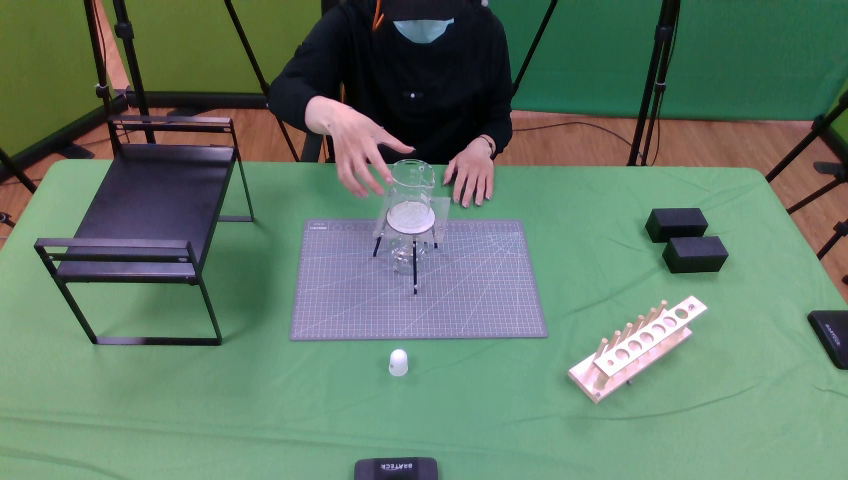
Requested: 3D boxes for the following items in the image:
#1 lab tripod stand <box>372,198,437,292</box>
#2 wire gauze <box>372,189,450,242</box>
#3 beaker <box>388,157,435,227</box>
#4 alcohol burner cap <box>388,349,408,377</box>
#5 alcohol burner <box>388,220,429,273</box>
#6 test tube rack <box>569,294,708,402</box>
[{"bbox_3d":[-0.025,-0.002,1.112,0.148,0.132,0.147,2,44,-2],"label":"lab tripod stand"},{"bbox_3d":[-0.019,-0.043,1.061,0.121,0.011,0.124,9,42,2],"label":"wire gauze"},{"bbox_3d":[-0.021,-0.077,1.026,0.083,0.101,0.074,30,50,22],"label":"beaker"},{"bbox_3d":[-0.042,0.197,0.989,0.034,0.048,0.033,3,46,-2],"label":"alcohol burner cap"},{"bbox_3d":[-0.028,0.006,1.118,0.078,0.119,0.077,2,48,-2],"label":"alcohol burner"},{"bbox_3d":[0.360,0.167,1.014,0.242,0.085,0.066,-25,53,-25],"label":"test tube rack"}]
